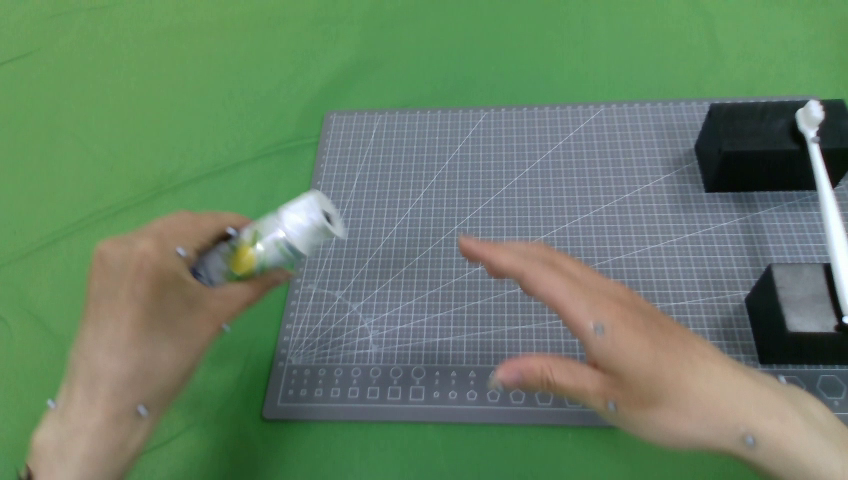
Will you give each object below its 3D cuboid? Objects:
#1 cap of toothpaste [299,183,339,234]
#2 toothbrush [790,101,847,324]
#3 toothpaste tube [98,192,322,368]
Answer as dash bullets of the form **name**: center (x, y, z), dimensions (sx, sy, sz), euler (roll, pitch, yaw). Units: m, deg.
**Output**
- **cap of toothpaste**: center (-0.067, -0.018, 0.381), dimensions (0.011, 0.038, 0.037), euler (-31, 56, 6)
- **toothbrush**: center (0.272, -0.025, 0.409), dimensions (0.014, 0.017, 0.180), euler (12, 59, -4)
- **toothpaste tube**: center (-0.135, 0.020, 0.391), dimensions (0.165, 0.034, 0.055), euler (-31, 81, 6)
